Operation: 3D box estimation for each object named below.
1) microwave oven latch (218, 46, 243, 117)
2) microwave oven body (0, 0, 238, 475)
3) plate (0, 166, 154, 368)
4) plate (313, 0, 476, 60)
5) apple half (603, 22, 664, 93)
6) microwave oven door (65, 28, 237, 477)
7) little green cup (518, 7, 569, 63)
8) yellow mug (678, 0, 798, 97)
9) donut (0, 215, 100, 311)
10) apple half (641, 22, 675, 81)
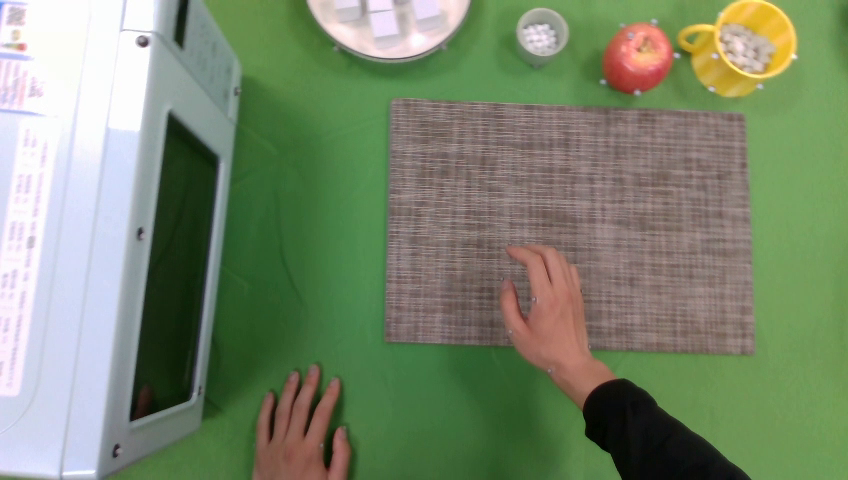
[{"bbox_3d":[-0.231,-0.187,0.709,0.030,0.029,0.079,7,84,-2],"label":"microwave oven latch"},{"bbox_3d":[-0.389,-0.037,0.587,0.326,0.260,0.440,5,84,-3],"label":"microwave oven body"},{"bbox_3d":[-0.386,0.028,0.631,0.209,0.038,0.208,0,84,-4],"label":"plate"},{"bbox_3d":[-0.036,-0.320,0.753,0.208,0.039,0.207,0,83,-3],"label":"plate"},{"bbox_3d":[0.247,-0.215,0.739,0.053,0.074,0.080,-24,89,-1],"label":"apple half"},{"bbox_3d":[-0.248,0.017,0.583,0.039,0.244,0.354,5,83,-2],"label":"microwave oven door"},{"bbox_3d":[0.146,-0.252,0.755,0.061,0.038,0.061,0,83,-2],"label":"little green cup"},{"bbox_3d":[0.381,-0.241,0.751,0.131,0.064,0.099,13,82,-1],"label":"yellow mug"},{"bbox_3d":[-0.383,0.023,0.619,0.099,0.048,0.099,0,84,-2],"label":"donut"},{"bbox_3d":[0.283,-0.232,0.741,0.033,0.081,0.081,-25,85,-1],"label":"apple half"}]
